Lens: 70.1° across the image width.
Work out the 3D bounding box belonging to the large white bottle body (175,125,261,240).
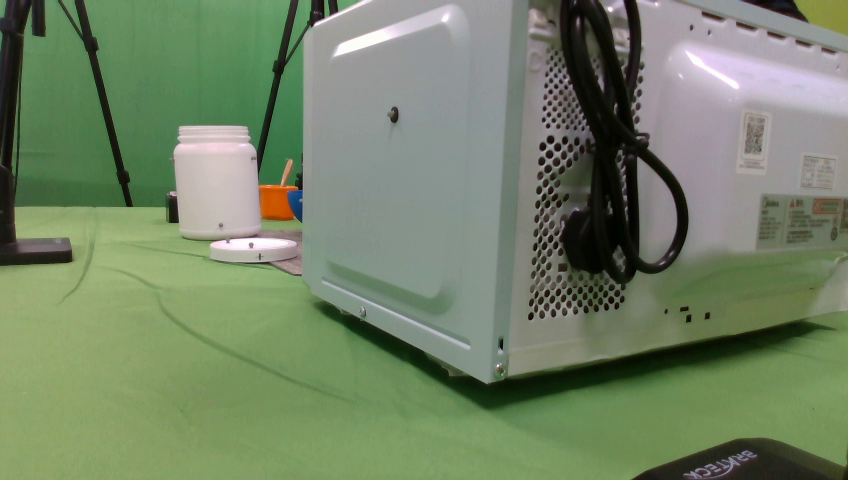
[{"bbox_3d":[-0.349,-0.100,1.025,0.131,0.184,0.130,-1,9,0],"label":"large white bottle body"}]

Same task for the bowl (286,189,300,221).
[{"bbox_3d":[-0.179,-0.051,1.115,0.151,0.077,0.151,3,8,0],"label":"bowl"}]

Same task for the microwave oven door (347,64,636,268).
[{"bbox_3d":[0.084,-0.091,0.771,0.356,0.243,0.039,2,8,-3],"label":"microwave oven door"}]

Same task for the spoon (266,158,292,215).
[{"bbox_3d":[-0.334,-0.127,1.423,0.041,0.193,0.022,0,-37,7],"label":"spoon"}]

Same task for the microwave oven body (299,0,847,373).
[{"bbox_3d":[0.152,-0.055,0.543,0.444,0.260,0.324,-1,7,-33],"label":"microwave oven body"}]

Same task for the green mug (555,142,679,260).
[{"bbox_3d":[0.181,-0.037,0.583,0.093,0.105,0.124,-3,5,-45],"label":"green mug"}]

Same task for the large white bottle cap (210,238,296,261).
[{"bbox_3d":[-0.236,0.013,0.839,0.115,0.018,0.115,2,7,0],"label":"large white bottle cap"}]

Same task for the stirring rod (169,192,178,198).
[{"bbox_3d":[-0.465,-0.098,1.283,0.014,0.006,0.177,42,22,17],"label":"stirring rod"}]

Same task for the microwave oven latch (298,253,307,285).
[{"bbox_3d":[-0.081,0.027,0.582,0.079,0.029,0.030,-1,7,-32],"label":"microwave oven latch"}]
